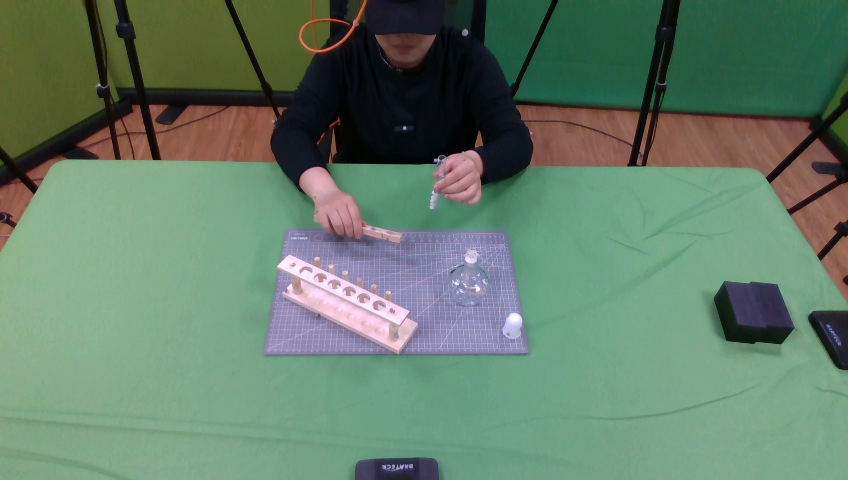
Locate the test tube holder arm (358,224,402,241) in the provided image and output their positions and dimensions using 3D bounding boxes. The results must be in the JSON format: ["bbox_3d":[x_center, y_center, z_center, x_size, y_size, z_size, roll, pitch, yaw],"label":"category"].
[{"bbox_3d":[-0.086,-0.014,1.159,0.088,0.015,0.010,13,25,9],"label":"test tube holder arm"}]

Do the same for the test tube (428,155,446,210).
[{"bbox_3d":[0.023,-0.102,1.107,0.017,0.151,0.017,4,57,-5],"label":"test tube"}]

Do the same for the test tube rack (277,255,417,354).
[{"bbox_3d":[-0.131,0.099,1.045,0.241,0.085,0.066,23,49,17],"label":"test tube rack"}]

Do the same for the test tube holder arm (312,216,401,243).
[{"bbox_3d":[-0.131,-0.021,1.161,0.178,0.015,0.013,12,25,8],"label":"test tube holder arm"}]

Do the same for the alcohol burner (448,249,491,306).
[{"bbox_3d":[0.081,0.062,1.078,0.078,0.120,0.077,1,45,-1],"label":"alcohol burner"}]

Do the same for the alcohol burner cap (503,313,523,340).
[{"bbox_3d":[0.156,0.148,1.051,0.034,0.048,0.033,1,45,-1],"label":"alcohol burner cap"}]
